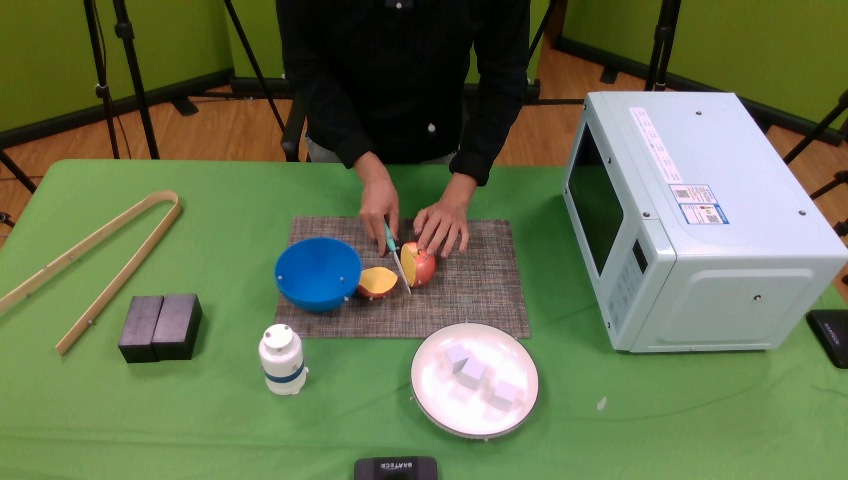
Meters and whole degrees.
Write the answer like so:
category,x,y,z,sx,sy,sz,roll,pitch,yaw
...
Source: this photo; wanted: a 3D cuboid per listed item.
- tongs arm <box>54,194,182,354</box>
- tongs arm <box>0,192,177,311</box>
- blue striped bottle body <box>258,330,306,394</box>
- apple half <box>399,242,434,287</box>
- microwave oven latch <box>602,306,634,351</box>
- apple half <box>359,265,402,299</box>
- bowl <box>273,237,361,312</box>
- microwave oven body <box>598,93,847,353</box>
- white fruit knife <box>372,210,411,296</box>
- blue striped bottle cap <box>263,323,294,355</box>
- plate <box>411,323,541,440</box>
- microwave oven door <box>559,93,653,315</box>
category,x,y,z,sx,sy,sz,roll,pitch,yaw
tongs arm,-0.543,0.048,1.107,0.028,0.028,0.385,11,46,10
tongs arm,-0.618,0.019,1.124,0.050,0.026,0.384,24,47,16
blue striped bottle body,-0.220,0.182,0.937,0.063,0.121,0.062,2,46,-2
apple half,-0.010,0.046,1.116,0.053,0.075,0.080,-6,42,-24
microwave oven latch,0.332,0.153,1.044,0.030,0.029,0.078,0,45,-4
apple half,-0.079,0.081,1.096,0.081,0.033,0.081,5,40,-4
bowl,-0.186,0.074,1.069,0.151,0.077,0.150,3,46,-3
microwave oven body,0.475,-0.041,1.109,0.326,0.261,0.438,-1,45,-4
white fruit knife,-0.061,0.020,1.157,0.016,0.027,0.206,-15,59,-16
blue striped bottle cap,-0.217,0.146,0.900,0.044,0.021,0.044,1,46,-1
plate,0.082,0.228,0.976,0.208,0.039,0.206,2,45,-2
microwave oven door,0.327,-0.074,1.123,0.039,0.245,0.353,-1,46,-5
